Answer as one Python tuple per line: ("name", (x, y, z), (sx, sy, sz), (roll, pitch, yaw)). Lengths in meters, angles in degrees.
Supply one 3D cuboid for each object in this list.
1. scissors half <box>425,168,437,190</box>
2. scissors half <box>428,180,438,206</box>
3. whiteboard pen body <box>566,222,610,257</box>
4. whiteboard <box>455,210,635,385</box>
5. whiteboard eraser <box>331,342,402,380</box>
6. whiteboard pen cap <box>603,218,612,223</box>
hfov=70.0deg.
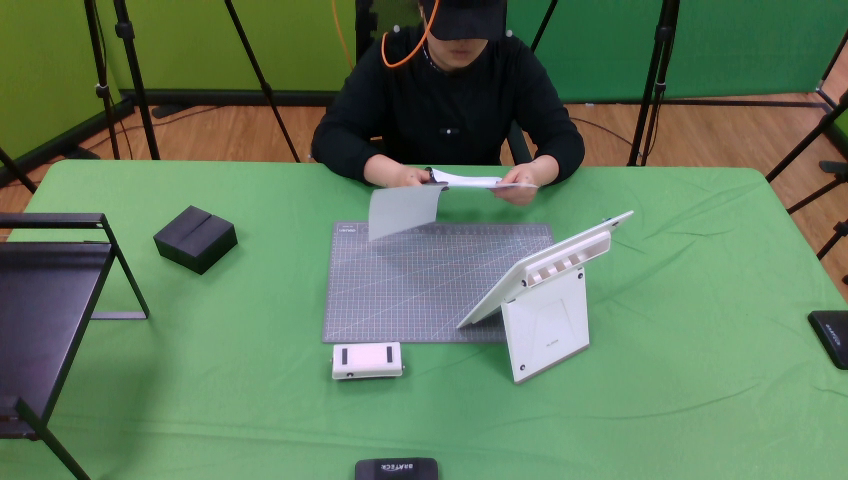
("scissors half", (0.015, -0.114, 1.156), (0.013, 0.040, 0.174), (-13, 13, -3))
("scissors half", (0.020, -0.093, 1.158), (0.013, 0.175, 0.040), (-18, 83, -3))
("whiteboard pen body", (0.335, -0.004, 1.228), (0.141, 0.017, 0.017), (-33, 56, -29))
("whiteboard", (0.211, 0.111, 0.955), (0.217, 0.306, 0.143), (-21, 71, -23))
("whiteboard eraser", (-0.094, 0.198, 0.986), (0.113, 0.042, 0.055), (-2, 44, -6))
("whiteboard pen cap", (0.379, -0.031, 1.255), (0.033, 0.018, 0.018), (-33, 56, -30))
